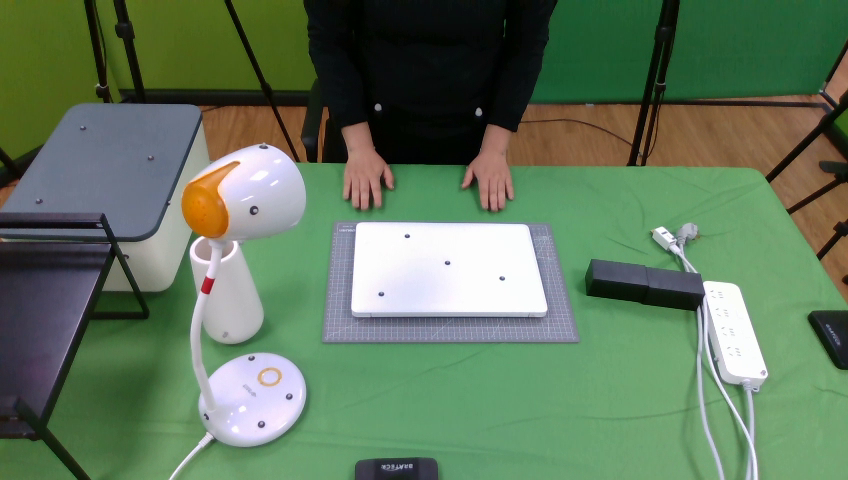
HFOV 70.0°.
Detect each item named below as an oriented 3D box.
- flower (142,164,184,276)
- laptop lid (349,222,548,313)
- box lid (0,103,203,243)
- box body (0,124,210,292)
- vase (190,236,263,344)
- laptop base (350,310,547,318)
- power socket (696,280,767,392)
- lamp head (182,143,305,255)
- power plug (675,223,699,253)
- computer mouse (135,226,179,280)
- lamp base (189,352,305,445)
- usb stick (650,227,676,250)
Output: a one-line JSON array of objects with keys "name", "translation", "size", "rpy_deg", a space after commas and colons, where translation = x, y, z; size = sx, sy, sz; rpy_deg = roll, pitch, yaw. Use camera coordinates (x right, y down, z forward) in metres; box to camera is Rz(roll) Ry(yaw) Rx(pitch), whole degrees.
[{"name": "flower", "translation": [-0.493, -0.056, 1.172], "size": [0.038, 0.044, 0.359], "rpy_deg": [37, 23, -32]}, {"name": "laptop lid", "translation": [0.042, 0.046, 1.142], "size": [0.357, 0.013, 0.240], "rpy_deg": [2, 44, -3]}, {"name": "box lid", "translation": [-0.563, -0.132, 1.079], "size": [0.263, 0.015, 0.369], "rpy_deg": [1, 46, -3]}, {"name": "box body", "translation": [-0.567, -0.082, 1.134], "size": [0.254, 0.161, 0.361], "rpy_deg": [2, 46, -3]}, {"name": "vase", "translation": [-0.317, 0.081, 0.971], "size": [0.098, 0.201, 0.097], "rpy_deg": [3, 47, -3]}, {"name": "laptop base", "translation": [0.041, 0.056, 1.149], "size": [0.355, 0.023, 0.234], "rpy_deg": [0, 43, -4]}, {"name": "power socket", "translation": [0.543, 0.160, 1.077], "size": [0.072, 0.033, 0.225], "rpy_deg": [6, 46, 2]}, {"name": "lamp head", "translation": [-0.216, -0.044, 0.697], "size": [0.112, 0.113, 0.123], "rpy_deg": [23, 31, 17]}, {"name": "power plug", "translation": [0.538, 0.000, 1.243], "size": [0.053, 0.035, 0.072], "rpy_deg": [18, 81, -16]}, {"name": "computer mouse", "translation": [-0.493, 0.020, 1.118], "size": [0.063, 0.041, 0.116], "rpy_deg": [1, 53, -10]}, {"name": "lamp base", "translation": [-0.268, 0.197, 0.876], "size": [0.160, 0.181, 0.179], "rpy_deg": [26, 52, 20]}, {"name": "usb stick", "translation": [0.485, -0.007, 1.238], "size": [0.021, 0.027, 0.059], "rpy_deg": [-24, 44, -12]}]
